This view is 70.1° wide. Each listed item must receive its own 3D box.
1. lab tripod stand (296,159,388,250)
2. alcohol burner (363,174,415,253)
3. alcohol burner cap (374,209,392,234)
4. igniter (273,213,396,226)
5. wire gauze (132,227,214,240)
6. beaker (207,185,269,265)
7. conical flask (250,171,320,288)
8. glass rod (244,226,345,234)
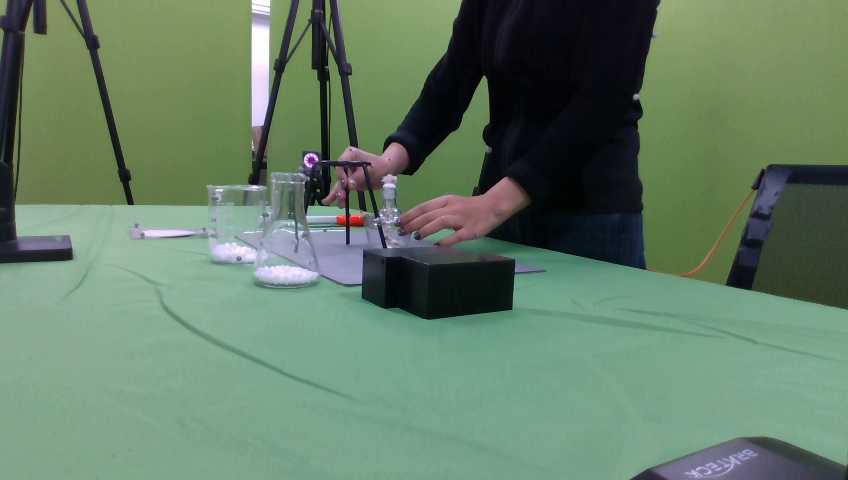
[{"bbox_3d":[-0.117,-0.053,0.895,0.148,0.131,0.148,1,5,0],"label":"lab tripod stand"},{"bbox_3d":[-0.053,-0.041,0.918,0.078,0.119,0.078,1,7,0],"label":"alcohol burner"},{"bbox_3d":[-0.078,-0.036,1.148,0.034,0.048,0.034,2,7,0],"label":"alcohol burner cap"},{"bbox_3d":[-0.178,-0.044,1.258,0.278,0.025,0.057,-3,-1,-39],"label":"igniter"},{"bbox_3d":[-0.425,-0.013,1.018,0.122,0.011,0.124,-1,6,-28],"label":"wire gauze"},{"bbox_3d":[-0.244,-0.021,0.784,0.083,0.100,0.074,6,8,30],"label":"beaker"},{"bbox_3d":[-0.150,-0.013,0.658,0.075,0.122,0.075,2,7,0],"label":"conical flask"},{"bbox_3d":[-0.239,-0.020,1.145,0.201,0.008,0.008,-3,9,-30],"label":"glass rod"}]
